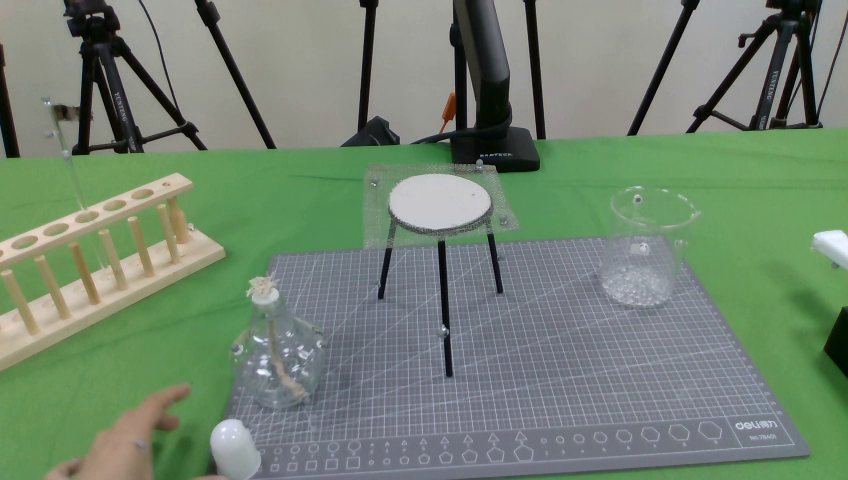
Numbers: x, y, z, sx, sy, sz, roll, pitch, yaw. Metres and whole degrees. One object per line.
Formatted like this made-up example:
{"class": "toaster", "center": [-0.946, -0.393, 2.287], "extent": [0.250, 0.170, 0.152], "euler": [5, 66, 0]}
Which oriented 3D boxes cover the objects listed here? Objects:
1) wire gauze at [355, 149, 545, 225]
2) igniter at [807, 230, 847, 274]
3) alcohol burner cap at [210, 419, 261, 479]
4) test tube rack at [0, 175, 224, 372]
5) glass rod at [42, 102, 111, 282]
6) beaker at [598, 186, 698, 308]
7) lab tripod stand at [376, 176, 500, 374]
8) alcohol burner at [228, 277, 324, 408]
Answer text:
{"class": "wire gauze", "center": [0.018, -0.044, 0.492], "extent": [0.125, 0.011, 0.120], "euler": [-9, 31, -23]}
{"class": "igniter", "center": [0.413, 0.066, 0.476], "extent": [0.057, 0.025, 0.273], "euler": [-8, 31, -8]}
{"class": "alcohol burner cap", "center": [-0.141, 0.152, 0.445], "extent": [0.034, 0.048, 0.033], "euler": [0, 36, 0]}
{"class": "test tube rack", "center": [-0.332, 0.026, 0.603], "extent": [0.066, 0.086, 0.242], "euler": [27, 44, 35]}
{"class": "glass rod", "center": [-0.328, -0.036, 0.575], "extent": [0.008, 0.201, 0.008], "euler": [2, 37, -1]}
{"class": "beaker", "center": [0.211, 0.009, 0.583], "extent": [0.084, 0.101, 0.073], "euler": [1, 35, 5]}
{"class": "lab tripod stand", "center": [0.016, 0.023, 0.543], "extent": [0.148, 0.132, 0.147], "euler": [0, 36, 0]}
{"class": "alcohol burner", "center": [-0.121, 0.077, 0.488], "extent": [0.078, 0.120, 0.077], "euler": [0, 34, 0]}
